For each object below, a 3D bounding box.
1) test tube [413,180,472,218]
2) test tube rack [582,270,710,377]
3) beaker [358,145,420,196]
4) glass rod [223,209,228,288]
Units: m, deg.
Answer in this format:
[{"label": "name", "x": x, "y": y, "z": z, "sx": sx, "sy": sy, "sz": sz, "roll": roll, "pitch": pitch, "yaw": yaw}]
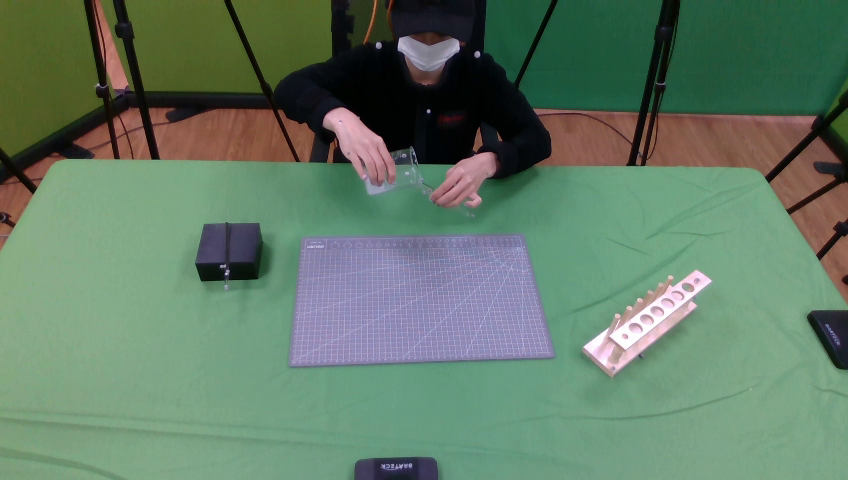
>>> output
[{"label": "test tube", "x": 0.039, "y": -0.078, "z": 1.171, "sx": 0.151, "sy": 0.017, "sz": 0.017, "roll": 27, "pitch": 34, "yaw": -35}, {"label": "test tube rack", "x": 0.389, "y": 0.132, "z": 1.057, "sx": 0.242, "sy": 0.085, "sz": 0.066, "roll": -28, "pitch": 54, "yaw": -28}, {"label": "beaker", "x": -0.063, "y": -0.122, "z": 1.097, "sx": 0.100, "sy": 0.084, "sz": 0.073, "roll": -13, "pitch": 43, "yaw": -6}, {"label": "glass rod", "x": -0.360, "y": 0.010, "z": 1.098, "sx": 0.008, "sy": 0.008, "sz": 0.198, "roll": -7, "pitch": 47, "yaw": -12}]
